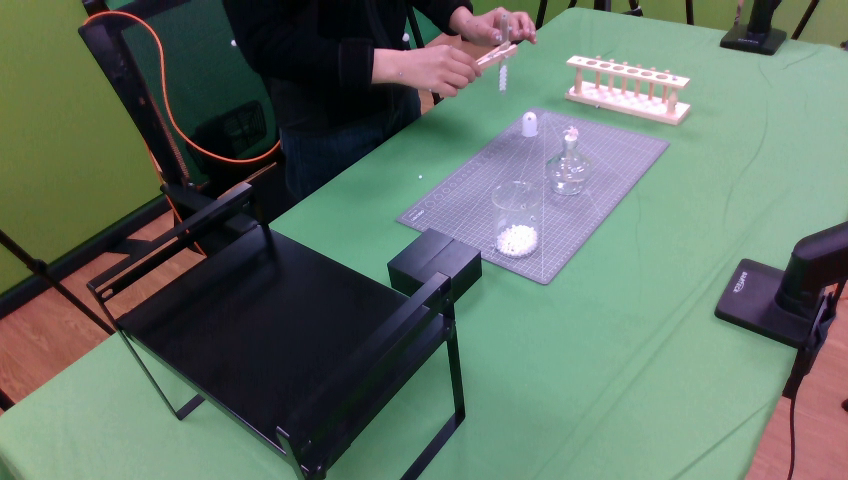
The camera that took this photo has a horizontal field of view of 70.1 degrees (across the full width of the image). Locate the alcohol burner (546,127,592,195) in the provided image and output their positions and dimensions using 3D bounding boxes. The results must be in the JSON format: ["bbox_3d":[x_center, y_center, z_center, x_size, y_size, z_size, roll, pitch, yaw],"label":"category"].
[{"bbox_3d":[0.246,-0.137,1.023,0.078,0.119,0.077,-4,38,4],"label":"alcohol burner"}]

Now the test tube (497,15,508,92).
[{"bbox_3d":[0.140,-0.329,1.083,0.017,0.151,0.017,-2,48,3],"label":"test tube"}]

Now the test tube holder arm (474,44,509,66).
[{"bbox_3d":[0.120,-0.323,1.072,0.010,0.015,0.088,29,55,36],"label":"test tube holder arm"}]

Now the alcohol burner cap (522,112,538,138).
[{"bbox_3d":[0.210,-0.230,1.195,0.034,0.048,0.033,-5,40,5],"label":"alcohol burner cap"}]

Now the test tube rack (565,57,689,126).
[{"bbox_3d":[0.412,-0.311,1.230,0.240,0.085,0.067,24,49,32],"label":"test tube rack"}]

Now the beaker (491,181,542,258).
[{"bbox_3d":[0.144,-0.030,0.925,0.073,0.100,0.084,23,48,31],"label":"beaker"}]

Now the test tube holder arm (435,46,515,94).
[{"bbox_3d":[0.090,-0.297,1.049,0.179,0.015,0.013,-33,46,-23],"label":"test tube holder arm"}]
